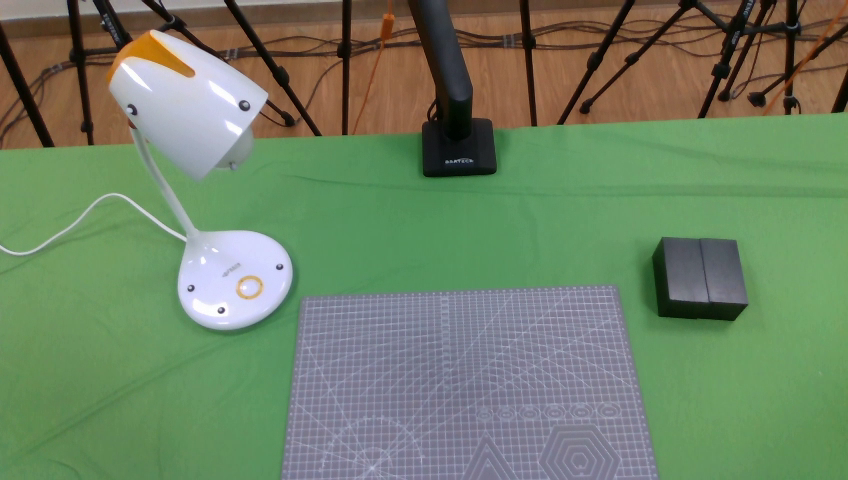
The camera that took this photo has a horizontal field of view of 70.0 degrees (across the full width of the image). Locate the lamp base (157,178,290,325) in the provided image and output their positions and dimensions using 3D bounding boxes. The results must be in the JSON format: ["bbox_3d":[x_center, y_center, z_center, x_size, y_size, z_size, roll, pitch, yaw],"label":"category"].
[{"bbox_3d":[-0.288,0.003,0.812,0.178,0.182,0.160,27,62,21],"label":"lamp base"}]

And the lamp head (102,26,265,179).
[{"bbox_3d":[-0.229,-0.134,0.563,0.124,0.112,0.112,36,58,-21],"label":"lamp head"}]
